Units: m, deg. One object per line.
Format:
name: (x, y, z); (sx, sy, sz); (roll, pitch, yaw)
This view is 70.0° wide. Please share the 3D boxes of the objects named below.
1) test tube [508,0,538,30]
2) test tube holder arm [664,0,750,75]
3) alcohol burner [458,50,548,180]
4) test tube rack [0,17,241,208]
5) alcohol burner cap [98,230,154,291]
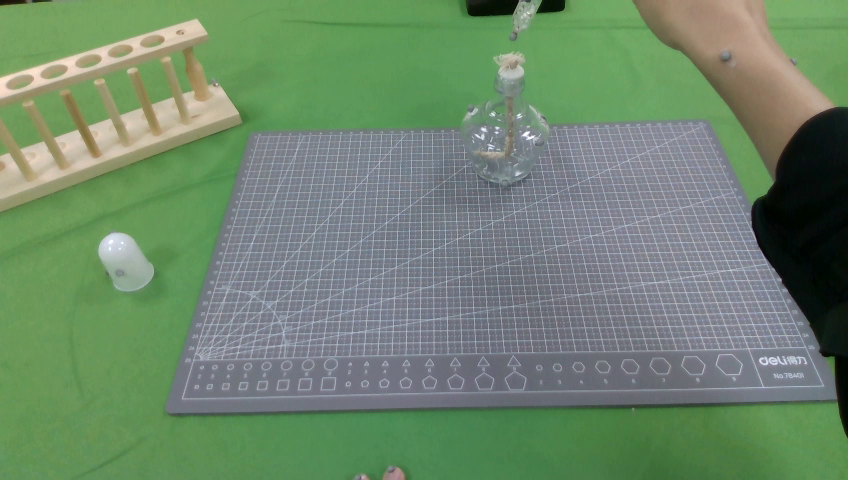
test tube: (0.094, -0.213, 0.413); (0.017, 0.151, 0.017); (14, 44, -14)
test tube holder arm: (0.143, -0.174, 0.387); (0.013, 0.015, 0.177); (-26, 73, -39)
alcohol burner: (0.069, -0.110, 0.516); (0.078, 0.120, 0.077); (0, 50, 0)
test tube rack: (-0.306, -0.120, 0.561); (0.242, 0.086, 0.066); (-26, 53, -19)
alcohol burner cap: (-0.235, 0.013, 0.473); (0.034, 0.048, 0.033); (-1, 48, 1)
